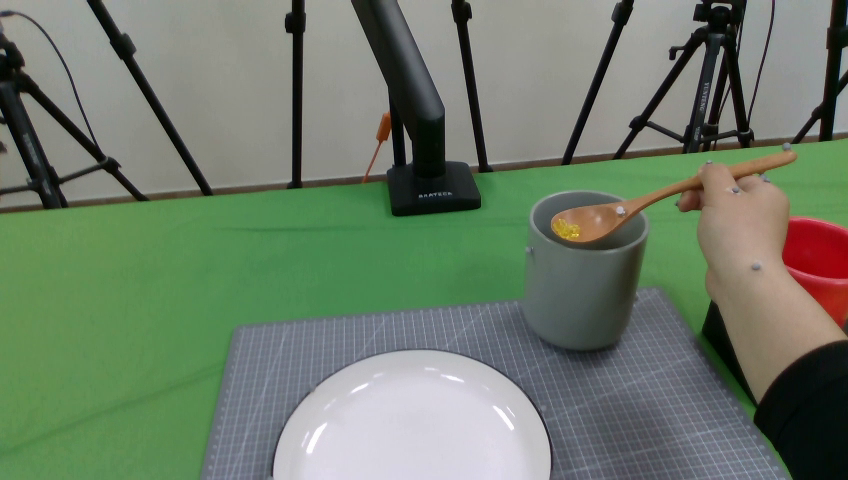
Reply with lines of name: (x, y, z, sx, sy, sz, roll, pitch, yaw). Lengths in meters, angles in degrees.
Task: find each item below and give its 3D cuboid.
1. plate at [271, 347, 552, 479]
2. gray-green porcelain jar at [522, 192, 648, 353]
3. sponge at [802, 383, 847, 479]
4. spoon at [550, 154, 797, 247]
plate: (-0.008, 0.168, 0.464, 0.208, 0.039, 0.205, -1, 35, 1)
gray-green porcelain jar: (0.147, 0.034, 0.573, 0.106, 0.127, 0.105, -1, 35, 1)
sponge: (0.384, 0.185, 0.406, 0.118, 0.061, 0.204, -7, 35, -8)
spoon: (0.197, -0.034, 0.485, 0.193, 0.022, 0.041, -20, 39, 15)
